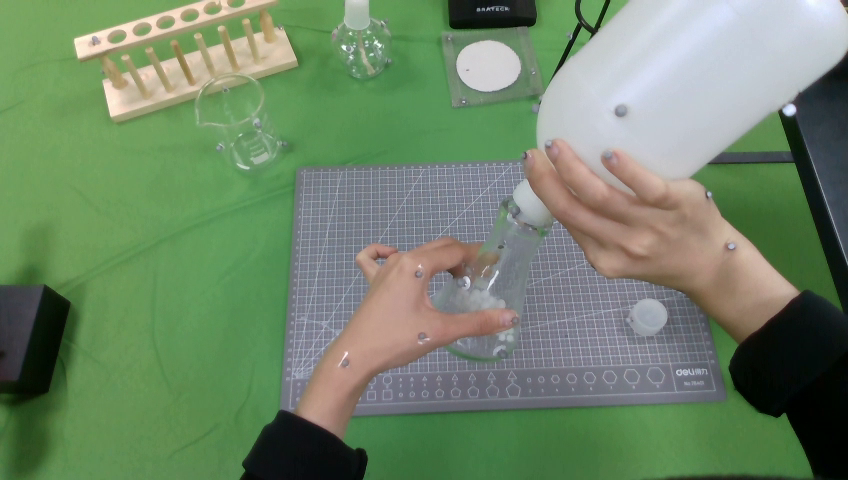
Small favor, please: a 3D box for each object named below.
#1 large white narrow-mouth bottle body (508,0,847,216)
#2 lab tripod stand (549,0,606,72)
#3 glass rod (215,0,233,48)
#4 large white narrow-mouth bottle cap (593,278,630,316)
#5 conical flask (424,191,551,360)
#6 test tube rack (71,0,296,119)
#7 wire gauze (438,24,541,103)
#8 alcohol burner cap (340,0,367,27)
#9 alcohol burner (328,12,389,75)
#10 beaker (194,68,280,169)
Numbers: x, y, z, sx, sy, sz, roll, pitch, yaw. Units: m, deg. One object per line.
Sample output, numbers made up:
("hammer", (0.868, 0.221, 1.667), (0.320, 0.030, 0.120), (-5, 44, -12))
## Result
("large white narrow-mouth bottle body", (0.128, -0.084, 0.358), (0.195, 0.102, 0.101), (-43, 63, 29))
("lab tripod stand", (0.214, -0.233, 0.730), (0.148, 0.132, 0.147), (1, 63, -1))
("glass rod", (-0.249, -0.302, 0.717), (0.008, 0.201, 0.008), (2, 62, -4))
("large white narrow-mouth bottle cap", (0.201, 0.062, 0.651), (0.038, 0.024, 0.037), (-1, 64, 2))
("conical flask", (0.051, 0.023, 0.440), (0.075, 0.122, 0.074), (14, 37, -10))
("test tube rack", (-0.294, -0.239, 0.761), (0.242, 0.086, 0.066), (-20, 66, -10))
("wire gauze", (0.085, -0.239, 0.802), (0.121, 0.011, 0.124), (-6, 64, -4))
("alcohol burner cap", (-0.084, -0.284, 0.727), (0.034, 0.048, 0.033), (4, 63, -7))
("alcohol burner", (-0.083, -0.266, 0.758), (0.078, 0.120, 0.077), (0, 62, 0))
("beaker", (-0.215, -0.134, 0.703), (0.084, 0.101, 0.073), (-42, 70, -17))
